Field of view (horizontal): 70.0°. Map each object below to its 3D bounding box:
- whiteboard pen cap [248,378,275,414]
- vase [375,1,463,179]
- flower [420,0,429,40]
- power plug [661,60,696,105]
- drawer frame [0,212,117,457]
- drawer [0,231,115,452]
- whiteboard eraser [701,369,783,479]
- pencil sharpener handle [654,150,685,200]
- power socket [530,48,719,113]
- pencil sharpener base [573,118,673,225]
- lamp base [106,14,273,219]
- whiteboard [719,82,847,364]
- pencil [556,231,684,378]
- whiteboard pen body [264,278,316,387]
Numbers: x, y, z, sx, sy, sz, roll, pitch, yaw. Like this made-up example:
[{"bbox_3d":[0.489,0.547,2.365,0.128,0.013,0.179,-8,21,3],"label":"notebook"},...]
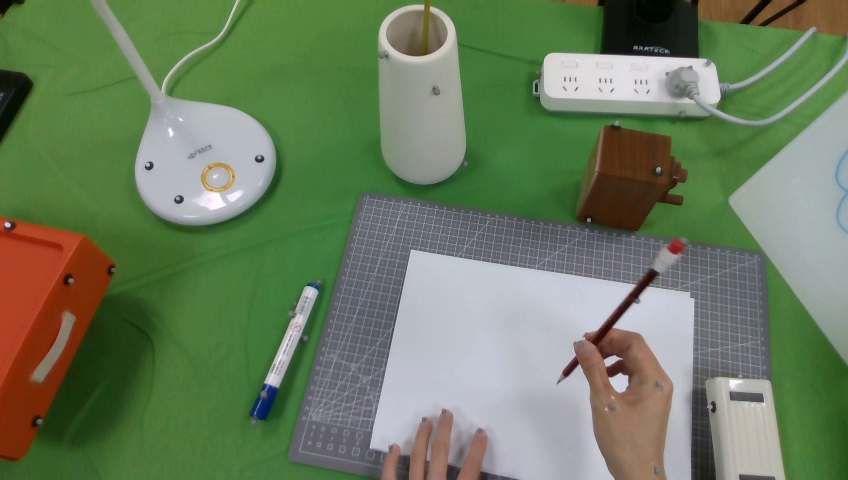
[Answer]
[{"bbox_3d":[-0.156,0.150,0.586,0.018,0.018,0.033,14,60,8],"label":"whiteboard pen cap"},{"bbox_3d":[-0.007,-0.148,0.631,0.098,0.201,0.097,-1,64,2],"label":"vase"},{"bbox_3d":[0.001,-0.198,0.563,0.038,0.365,0.043,-2,46,-7],"label":"flower"},{"bbox_3d":[0.293,-0.176,0.704,0.035,0.053,0.072,13,67,8],"label":"power plug"},{"bbox_3d":[-0.436,0.070,0.554,0.213,0.083,0.200,12,66,4],"label":"drawer frame"},{"bbox_3d":[-0.429,0.069,0.552,0.211,0.074,0.193,12,66,6],"label":"drawer"},{"bbox_3d":[0.290,0.177,0.557,0.055,0.042,0.112,4,65,2],"label":"whiteboard eraser"},{"bbox_3d":[0.258,-0.064,0.624,0.030,0.068,0.036,11,64,6],"label":"pencil sharpener handle"},{"bbox_3d":[0.245,-0.195,0.740,0.227,0.033,0.071,4,66,2],"label":"power socket"},{"bbox_3d":[0.208,-0.068,0.640,0.076,0.108,0.061,11,65,6],"label":"pencil sharpener base"},{"bbox_3d":[-0.267,-0.136,0.640,0.178,0.182,0.160,41,71,21],"label":"lamp base"},{"bbox_3d":[0.480,-0.056,0.554,0.144,0.307,0.215,-12,63,-25],"label":"whiteboard"},{"bbox_3d":[0.148,0.061,0.485,0.012,0.195,0.012,12,45,-12],"label":"pencil"},{"bbox_3d":[-0.139,0.101,0.613,0.017,0.017,0.140,13,62,8],"label":"whiteboard pen body"}]
